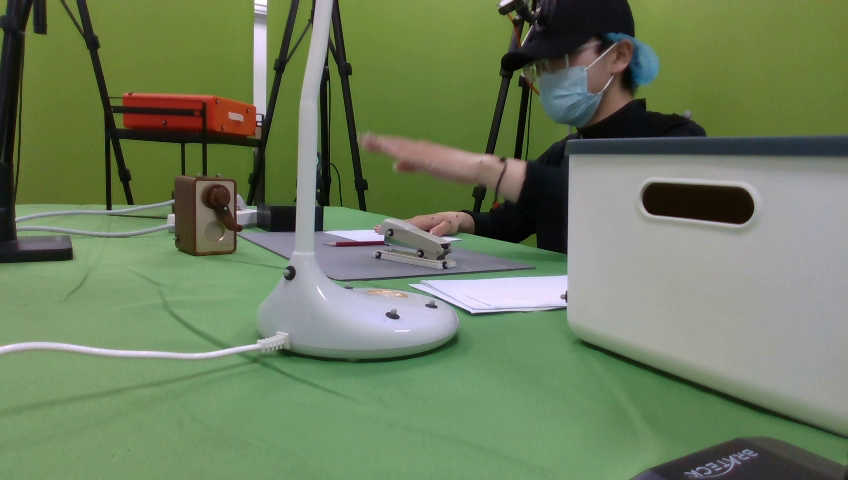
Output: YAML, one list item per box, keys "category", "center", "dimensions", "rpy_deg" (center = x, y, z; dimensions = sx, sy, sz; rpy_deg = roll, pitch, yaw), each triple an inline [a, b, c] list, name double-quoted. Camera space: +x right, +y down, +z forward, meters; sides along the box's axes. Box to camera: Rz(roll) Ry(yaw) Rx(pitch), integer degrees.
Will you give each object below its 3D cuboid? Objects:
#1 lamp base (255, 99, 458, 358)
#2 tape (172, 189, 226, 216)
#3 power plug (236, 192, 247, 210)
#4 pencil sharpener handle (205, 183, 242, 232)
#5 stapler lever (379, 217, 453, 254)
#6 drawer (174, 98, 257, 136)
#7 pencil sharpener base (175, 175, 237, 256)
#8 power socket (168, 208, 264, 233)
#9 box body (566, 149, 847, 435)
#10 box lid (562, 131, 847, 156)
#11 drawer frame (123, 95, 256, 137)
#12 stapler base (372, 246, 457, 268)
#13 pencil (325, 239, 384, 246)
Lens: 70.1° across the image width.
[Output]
- category: "lamp base"
  center: [-0.056, -0.013, 0.462]
  dimensions: [0.160, 0.180, 0.180]
  rpy_deg: [6, 11, 27]
- category: "tape"
  center: [-0.515, -0.087, 1.388]
  dimensions: [0.117, 0.052, 0.117]
  rpy_deg: [3, 8, 0]
- category: "power plug"
  center: [-0.386, -0.071, 1.204]
  dimensions: [0.072, 0.052, 0.035]
  rpy_deg: [7, 8, 26]
- category: "pencil sharpener handle"
  center: [-0.265, -0.043, 0.812]
  dimensions: [0.036, 0.068, 0.030]
  rpy_deg: [-31, 27, -35]
- category: "stapler lever"
  center: [-0.014, -0.007, 0.828]
  dimensions: [0.117, 0.040, 0.027]
  rpy_deg: [9, 11, 39]
- category: "drawer"
  center: [-0.518, -0.279, 1.376]
  dimensions: [0.211, 0.073, 0.195]
  rpy_deg: [3, 8, 9]
- category: "pencil sharpener base"
  center: [-0.305, -0.036, 0.847]
  dimensions: [0.062, 0.107, 0.076]
  rpy_deg: [-4, 10, -42]
- category: "power socket"
  center: [-0.381, -0.038, 1.129]
  dimensions: [0.072, 0.032, 0.227]
  rpy_deg: [4, 8, 17]
- category: "box body"
  center: [0.318, 0.009, 0.471]
  dimensions: [0.366, 0.160, 0.253]
  rpy_deg: [-2, 8, -31]
- category: "box lid"
  center: [0.322, -0.064, 0.463]
  dimensions: [0.373, 0.015, 0.262]
  rpy_deg: [-2, 9, -31]
- category: "drawer frame"
  center: [-0.524, -0.281, 1.376]
  dimensions: [0.213, 0.082, 0.202]
  rpy_deg: [3, 8, 8]
- category: "stapler base"
  center: [-0.016, 0.017, 0.831]
  dimensions: [0.130, 0.024, 0.041]
  rpy_deg: [10, 12, 39]
- category: "pencil"
  center: [-0.066, 0.003, 0.979]
  dimensions: [0.195, 0.012, 0.012]
  rpy_deg: [-2, 9, -25]
